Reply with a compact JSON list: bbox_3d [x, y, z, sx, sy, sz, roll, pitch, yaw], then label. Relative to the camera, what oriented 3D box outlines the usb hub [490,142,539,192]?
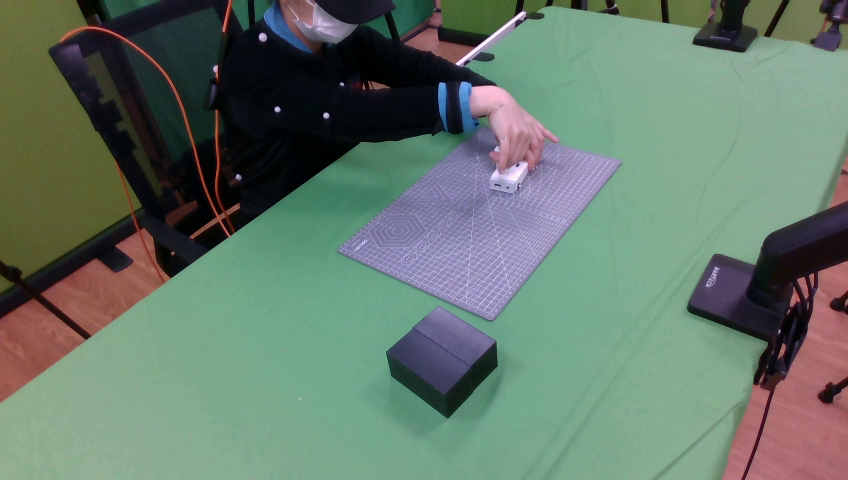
[{"bbox_3d":[0.165,-0.132,1.092,0.049,0.025,0.125,15,45,23],"label":"usb hub"}]

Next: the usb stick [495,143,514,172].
[{"bbox_3d":[0.141,-0.138,1.052,0.027,0.059,0.021,14,50,24],"label":"usb stick"}]
